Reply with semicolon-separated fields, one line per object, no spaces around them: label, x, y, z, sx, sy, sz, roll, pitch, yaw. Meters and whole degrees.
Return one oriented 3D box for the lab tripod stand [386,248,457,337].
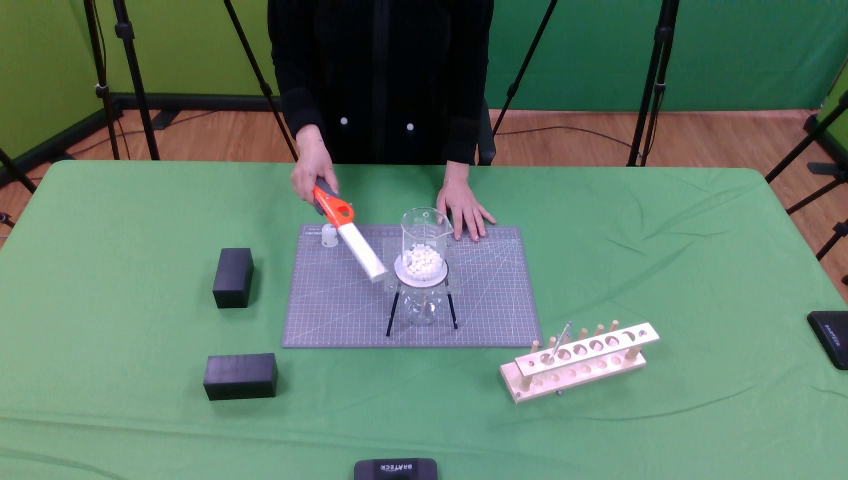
lab tripod stand;-0.010;0.087;1.032;0.148;0.132;0.147;1;45;-1

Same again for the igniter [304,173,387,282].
igniter;-0.146;-0.030;1.071;0.057;0.025;0.275;-20;53;-27

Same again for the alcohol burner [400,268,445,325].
alcohol burner;-0.003;0.092;1.042;0.078;0.120;0.077;1;46;-1

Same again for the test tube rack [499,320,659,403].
test tube rack;0.252;0.187;0.994;0.243;0.085;0.066;-12;48;-15

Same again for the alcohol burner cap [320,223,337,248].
alcohol burner cap;-0.187;-0.011;1.176;0.034;0.048;0.033;2;46;-1

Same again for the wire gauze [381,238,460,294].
wire gauze;-0.007;0.042;0.985;0.125;0.011;0.120;-1;43;-2

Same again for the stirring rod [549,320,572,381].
stirring rod;0.202;0.168;0.901;0.006;0.177;0.014;-16;54;-11

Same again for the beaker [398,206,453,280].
beaker;0.000;0.008;0.950;0.084;0.101;0.073;10;45;6
